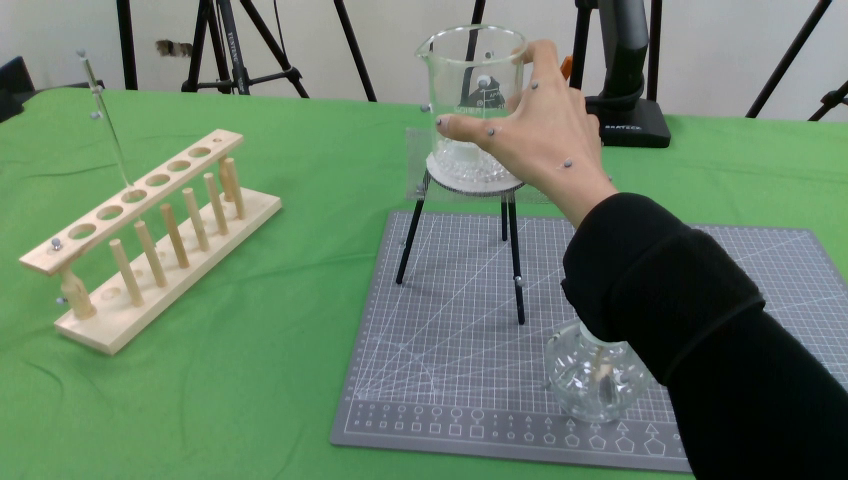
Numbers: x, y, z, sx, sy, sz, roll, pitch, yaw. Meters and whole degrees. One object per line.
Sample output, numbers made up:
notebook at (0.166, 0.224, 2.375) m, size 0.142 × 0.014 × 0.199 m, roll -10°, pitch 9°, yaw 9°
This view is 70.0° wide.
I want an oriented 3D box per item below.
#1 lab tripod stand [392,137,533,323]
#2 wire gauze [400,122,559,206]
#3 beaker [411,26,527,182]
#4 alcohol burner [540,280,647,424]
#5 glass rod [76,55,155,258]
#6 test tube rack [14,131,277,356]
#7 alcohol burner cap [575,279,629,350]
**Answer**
lab tripod stand at (0.042, -0.012, 0.539) m, size 0.148 × 0.132 × 0.147 m, roll -1°, pitch 40°, yaw 1°
wire gauze at (0.041, -0.064, 0.498) m, size 0.125 × 0.011 × 0.120 m, roll -2°, pitch 38°, yaw 2°
beaker at (0.034, -0.102, 0.466) m, size 0.084 × 0.101 × 0.073 m, roll 0°, pitch 39°, yaw 4°
alcohol burner at (0.125, 0.077, 0.440) m, size 0.078 × 0.120 × 0.077 m, roll -1°, pitch 36°, yaw 1°
glass rod at (-0.274, -0.065, 0.544) m, size 0.008 × 0.201 × 0.008 m, roll -3°, pitch 32°, yaw 2°
test tube rack at (-0.246, -0.010, 0.582) m, size 0.066 × 0.086 × 0.241 m, roll 16°, pitch 41°, yaw 19°
alcohol burner cap at (0.124, 0.049, 0.417) m, size 0.034 × 0.048 × 0.033 m, roll 1°, pitch 36°, yaw -1°
